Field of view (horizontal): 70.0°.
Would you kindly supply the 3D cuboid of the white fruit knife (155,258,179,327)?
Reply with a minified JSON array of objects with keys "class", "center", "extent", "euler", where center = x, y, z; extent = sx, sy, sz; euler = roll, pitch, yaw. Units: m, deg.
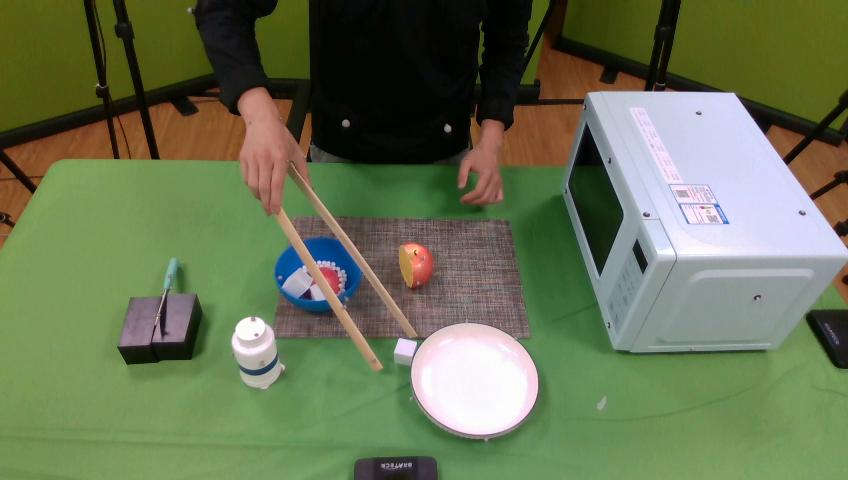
[{"class":"white fruit knife","center":[-0.440,0.085,1.037],"extent":[0.016,0.027,0.206],"euler":[10,26,-19]}]

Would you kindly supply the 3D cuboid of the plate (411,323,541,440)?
[{"class":"plate","center":[0.082,0.228,0.976],"extent":[0.208,0.039,0.206],"euler":[2,45,-2]}]

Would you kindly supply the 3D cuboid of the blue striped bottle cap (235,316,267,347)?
[{"class":"blue striped bottle cap","center":[-0.259,0.137,0.907],"extent":[0.044,0.021,0.044],"euler":[2,44,-2]}]

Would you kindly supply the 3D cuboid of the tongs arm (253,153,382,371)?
[{"class":"tongs arm","center":[-0.165,0.037,0.969],"extent":[0.051,0.026,0.385],"euler":[-37,97,-41]}]

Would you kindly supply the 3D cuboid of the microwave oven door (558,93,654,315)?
[{"class":"microwave oven door","center":[0.327,-0.074,1.123],"extent":[0.039,0.245,0.353],"euler":[0,46,-5]}]

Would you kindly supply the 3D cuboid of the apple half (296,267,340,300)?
[{"class":"apple half","center":[-0.186,0.070,1.067],"extent":[0.081,0.033,0.081],"euler":[2,47,-2]}]

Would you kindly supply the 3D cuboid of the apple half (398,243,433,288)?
[{"class":"apple half","center":[-0.012,0.046,1.115],"extent":[0.053,0.075,0.080],"euler":[-11,44,-19]}]

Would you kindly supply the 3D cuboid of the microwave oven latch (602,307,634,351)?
[{"class":"microwave oven latch","center":[0.332,0.153,1.044],"extent":[0.030,0.029,0.078],"euler":[-1,45,-4]}]

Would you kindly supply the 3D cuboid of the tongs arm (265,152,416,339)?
[{"class":"tongs arm","center":[-0.133,0.013,1.005],"extent":[0.028,0.028,0.388],"euler":[-42,101,-37]}]

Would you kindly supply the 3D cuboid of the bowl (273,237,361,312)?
[{"class":"bowl","center":[-0.186,0.075,1.069],"extent":[0.151,0.077,0.150],"euler":[3,46,-3]}]

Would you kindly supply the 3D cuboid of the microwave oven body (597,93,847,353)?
[{"class":"microwave oven body","center":[0.475,-0.041,1.110],"extent":[0.326,0.261,0.438],"euler":[-1,45,-4]}]

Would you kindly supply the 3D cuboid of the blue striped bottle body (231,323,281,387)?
[{"class":"blue striped bottle body","center":[-0.262,0.171,0.944],"extent":[0.063,0.121,0.062],"euler":[2,46,-2]}]
